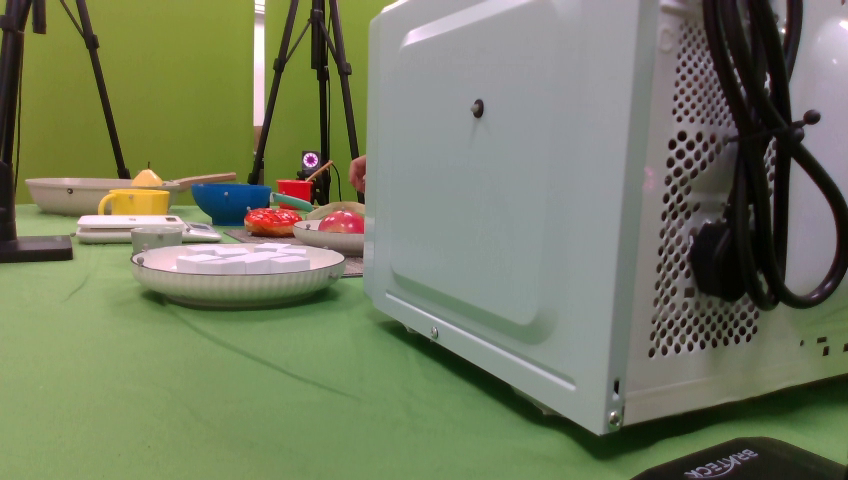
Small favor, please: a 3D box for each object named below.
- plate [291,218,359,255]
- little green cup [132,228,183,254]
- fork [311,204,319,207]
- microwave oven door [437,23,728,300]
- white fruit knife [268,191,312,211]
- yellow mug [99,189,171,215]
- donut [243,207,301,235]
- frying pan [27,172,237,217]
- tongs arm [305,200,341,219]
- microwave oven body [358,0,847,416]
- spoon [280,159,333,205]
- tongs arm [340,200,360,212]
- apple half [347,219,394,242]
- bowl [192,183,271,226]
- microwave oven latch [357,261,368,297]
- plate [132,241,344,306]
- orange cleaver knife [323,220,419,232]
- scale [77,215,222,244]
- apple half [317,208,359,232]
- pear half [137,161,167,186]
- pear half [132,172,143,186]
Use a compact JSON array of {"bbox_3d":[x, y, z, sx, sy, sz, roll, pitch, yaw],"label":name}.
[{"bbox_3d":[-0.098,-0.007,0.928,0.209,0.038,0.209,2,8,0],"label":"plate"},{"bbox_3d":[-0.342,0.006,0.779,0.061,0.038,0.061,2,8,0],"label":"little green cup"},{"bbox_3d":[-0.356,-0.105,1.526,0.208,0.018,0.028,16,-6,-41],"label":"fork"},{"bbox_3d":[0.180,-0.072,0.621,0.358,0.243,0.039,-2,8,-29],"label":"microwave oven door"},{"bbox_3d":[-0.364,-0.105,1.464,0.208,0.027,0.016,15,0,-34],"label":"white fruit knife"},{"bbox_3d":[-0.519,-0.055,1.080,0.099,0.064,0.131,6,9,26],"label":"yellow mug"},{"bbox_3d":[-0.261,-0.032,1.043,0.099,0.048,0.099,4,9,0],"label":"donut"},{"bbox_3d":[-0.624,-0.118,1.387,0.305,0.102,0.490,8,17,32],"label":"frying pan"},{"bbox_3d":[-0.236,-0.068,1.414,0.028,0.028,0.387,-6,8,1],"label":"tongs arm"},{"bbox_3d":[0.211,-0.047,0.474,0.444,0.260,0.324,-1,7,-28],"label":"microwave oven body"},{"bbox_3d":[-0.316,-0.159,1.640,0.194,0.022,0.041,-49,32,-20],"label":"spoon"},{"bbox_3d":[-0.149,-0.070,1.429,0.051,0.026,0.383,-4,9,-15],"label":"tongs arm"},{"bbox_3d":[-0.084,-0.018,0.967,0.081,0.033,0.081,6,10,-1],"label":"apple half"},{"bbox_3d":[-0.382,-0.071,1.202,0.151,0.077,0.151,3,7,0],"label":"bowl"},{"bbox_3d":[-0.019,0.033,0.531,0.079,0.029,0.030,-1,7,-27],"label":"microwave oven latch"},{"bbox_3d":[-0.187,0.033,0.625,0.208,0.039,0.207,2,7,0],"label":"plate"},{"bbox_3d":[-0.096,-0.027,1.152,0.077,0.012,0.212,2,7,41],"label":"orange cleaver knife"},{"bbox_3d":[-0.434,-0.019,0.963,0.202,0.031,0.148,-1,9,-27],"label":"scale"},{"bbox_3d":[-0.122,-0.020,0.901,0.080,0.053,0.075,4,11,20],"label":"apple half"},{"bbox_3d":[-0.602,-0.120,1.354,0.056,0.110,0.076,4,11,6],"label":"pear half"},{"bbox_3d":[-0.638,-0.113,1.361,0.031,0.088,0.070,5,11,4],"label":"pear half"}]
